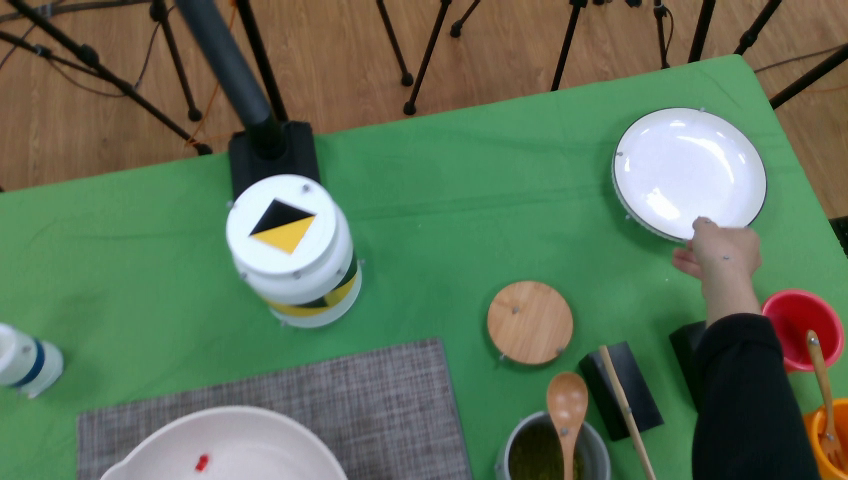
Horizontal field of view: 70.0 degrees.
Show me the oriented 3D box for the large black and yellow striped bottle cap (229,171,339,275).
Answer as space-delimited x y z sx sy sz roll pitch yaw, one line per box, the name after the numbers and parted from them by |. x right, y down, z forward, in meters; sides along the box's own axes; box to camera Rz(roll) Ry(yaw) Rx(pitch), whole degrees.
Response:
-0.148 -0.020 0.644 0.115 0.019 0.114 0 69 0 | large black and yellow striped bottle cap

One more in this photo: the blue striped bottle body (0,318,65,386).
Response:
-0.484 0.130 0.708 0.063 0.121 0.062 0 67 1 | blue striped bottle body

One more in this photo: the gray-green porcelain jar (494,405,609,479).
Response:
0.132 0.240 0.659 0.106 0.127 0.105 0 68 1 | gray-green porcelain jar

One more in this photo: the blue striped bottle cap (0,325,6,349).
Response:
-0.485 0.109 0.661 0.044 0.021 0.044 0 70 0 | blue striped bottle cap

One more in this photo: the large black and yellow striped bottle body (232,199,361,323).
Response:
-0.149 0.014 0.721 0.131 0.185 0.130 0 67 0 | large black and yellow striped bottle body

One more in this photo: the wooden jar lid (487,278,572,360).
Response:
0.134 0.101 0.774 0.108 0.021 0.107 0 69 0 | wooden jar lid

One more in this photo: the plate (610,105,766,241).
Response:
0.361 -0.091 0.840 0.209 0.038 0.207 0 68 1 | plate

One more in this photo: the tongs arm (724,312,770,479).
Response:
0.360 0.272 0.661 0.028 0.028 0.385 -2 78 -6 | tongs arm

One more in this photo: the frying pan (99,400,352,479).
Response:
-0.259 0.401 0.603 0.305 0.103 0.486 27 62 12 | frying pan

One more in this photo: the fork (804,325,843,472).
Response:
0.441 0.178 0.671 0.028 0.018 0.209 -24 114 -1 | fork

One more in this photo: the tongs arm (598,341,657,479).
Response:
0.278 0.289 0.657 0.051 0.026 0.383 -16 79 -6 | tongs arm

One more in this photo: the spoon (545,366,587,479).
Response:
0.138 0.222 0.591 0.041 0.022 0.192 4 72 0 | spoon
